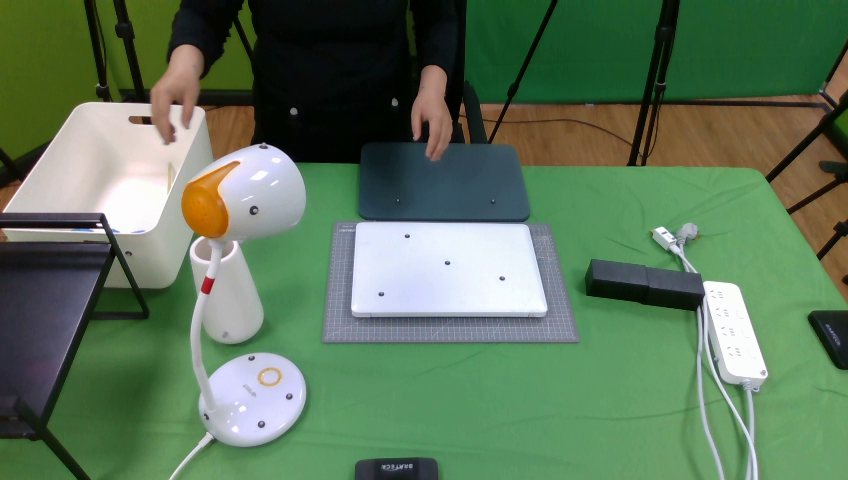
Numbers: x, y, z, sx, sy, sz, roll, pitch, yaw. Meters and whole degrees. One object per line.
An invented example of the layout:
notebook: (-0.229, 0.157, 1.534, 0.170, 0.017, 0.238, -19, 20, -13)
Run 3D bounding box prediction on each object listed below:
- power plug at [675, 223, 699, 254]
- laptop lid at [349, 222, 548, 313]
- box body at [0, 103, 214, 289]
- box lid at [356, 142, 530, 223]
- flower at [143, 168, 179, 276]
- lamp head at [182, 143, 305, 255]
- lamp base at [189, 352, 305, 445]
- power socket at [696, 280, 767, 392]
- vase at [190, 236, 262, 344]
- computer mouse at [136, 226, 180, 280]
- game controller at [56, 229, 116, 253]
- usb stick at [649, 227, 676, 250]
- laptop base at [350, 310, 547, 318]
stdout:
power plug: (0.537, 0.000, 1.244, 0.053, 0.035, 0.072, 19, 82, -17)
laptop lid: (0.042, 0.046, 1.142, 0.357, 0.013, 0.240, 2, 44, -3)
box body: (-0.563, -0.087, 1.140, 0.254, 0.161, 0.361, 2, 46, -3)
box lid: (0.040, -0.132, 1.339, 0.372, 0.015, 0.261, 0, 46, -4)
flower: (-0.495, -0.053, 1.173, 0.044, 0.038, 0.359, -41, 34, 17)
lamp head: (-0.216, -0.044, 0.697, 0.112, 0.113, 0.123, 23, 31, 17)
lamp base: (-0.268, 0.196, 0.876, 0.160, 0.181, 0.179, 25, 52, 20)
power socket: (0.543, 0.160, 1.077, 0.072, 0.033, 0.225, 5, 46, 2)
vase: (-0.317, 0.081, 0.971, 0.098, 0.201, 0.097, 3, 47, -3)
computer mouse: (-0.491, 0.020, 1.118, 0.063, 0.041, 0.116, 0, 54, -8)
game controller: (-0.597, 0.011, 1.116, 0.155, 0.052, 0.096, 1, 48, -1)
usb stick: (0.485, -0.007, 1.238, 0.021, 0.027, 0.059, -22, 43, -14)
laptop base: (0.041, 0.056, 1.149, 0.355, 0.023, 0.234, 0, 42, -4)
